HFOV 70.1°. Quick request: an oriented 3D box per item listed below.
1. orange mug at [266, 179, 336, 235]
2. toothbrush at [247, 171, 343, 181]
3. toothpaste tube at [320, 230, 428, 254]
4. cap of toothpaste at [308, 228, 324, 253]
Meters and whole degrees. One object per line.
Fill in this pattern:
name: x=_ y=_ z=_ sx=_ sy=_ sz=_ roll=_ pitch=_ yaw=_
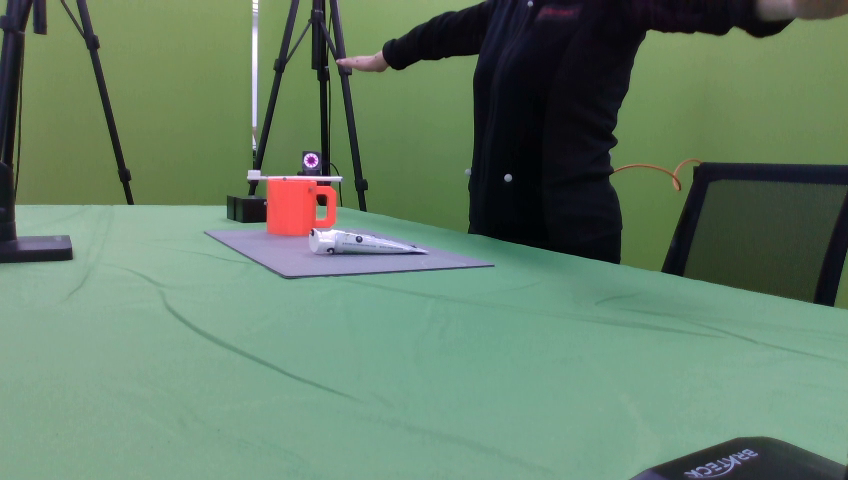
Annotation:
orange mug: x=-0.222 y=-0.062 z=1.094 sx=0.127 sy=0.101 sz=0.083 roll=-5 pitch=10 yaw=-22
toothbrush: x=-0.230 y=-0.115 z=1.092 sx=0.183 sy=0.016 sz=0.014 roll=-2 pitch=6 yaw=-35
toothpaste tube: x=-0.078 y=0.006 z=0.891 sx=0.166 sy=0.034 sz=0.055 roll=4 pitch=11 yaw=-26
cap of toothpaste: x=-0.153 y=0.001 z=0.857 sx=0.011 sy=0.037 sz=0.037 roll=-5 pitch=10 yaw=-36
